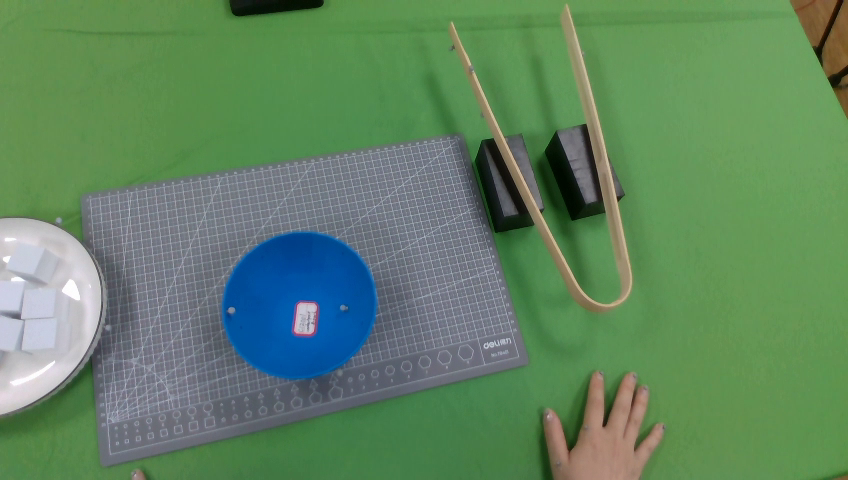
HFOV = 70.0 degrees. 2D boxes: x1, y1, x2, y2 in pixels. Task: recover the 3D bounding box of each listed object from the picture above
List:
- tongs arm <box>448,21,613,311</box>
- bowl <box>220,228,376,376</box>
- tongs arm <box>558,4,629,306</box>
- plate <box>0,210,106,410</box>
[{"bbox_3d":[0.114,-0.096,0.694,0.051,0.026,0.382,-16,73,-12],"label":"tongs arm"},{"bbox_3d":[-0.126,0.071,0.630,0.151,0.077,0.150,2,70,-6],"label":"bowl"},{"bbox_3d":[0.192,-0.112,0.707,0.028,0.028,0.385,-2,71,-11],"label":"tongs arm"},{"bbox_3d":[-0.431,0.071,0.619,0.208,0.039,0.206,2,71,-5],"label":"plate"}]
